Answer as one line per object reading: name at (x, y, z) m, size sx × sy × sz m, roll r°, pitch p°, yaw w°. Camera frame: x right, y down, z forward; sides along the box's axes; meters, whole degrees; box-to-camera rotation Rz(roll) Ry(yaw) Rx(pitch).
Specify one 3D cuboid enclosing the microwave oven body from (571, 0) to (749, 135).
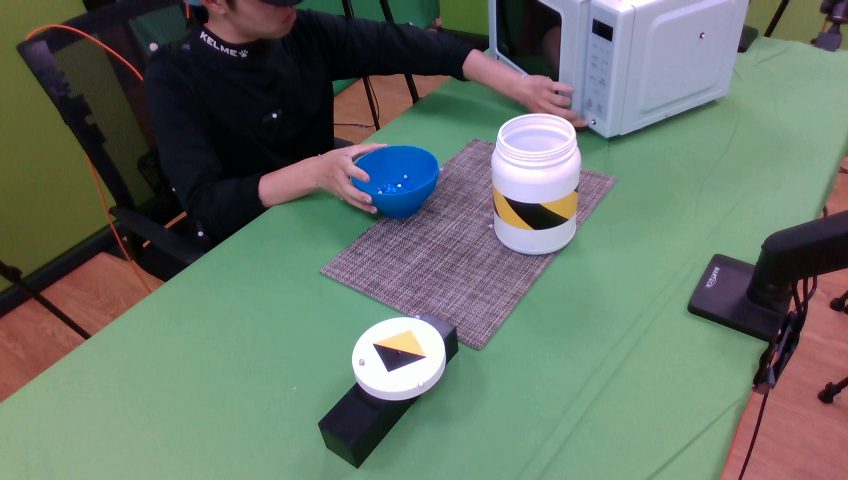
microwave oven body at (0.382, -0.444, 1.246) m, size 0.327 × 0.261 × 0.437 m, roll -22°, pitch 42°, yaw -16°

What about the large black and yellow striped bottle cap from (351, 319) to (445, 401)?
large black and yellow striped bottle cap at (-0.031, 0.143, 0.735) m, size 0.115 × 0.019 × 0.114 m, roll -3°, pitch 40°, yaw 3°

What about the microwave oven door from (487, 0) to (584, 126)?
microwave oven door at (0.221, -0.416, 1.227) m, size 0.039 × 0.245 × 0.352 m, roll -19°, pitch 42°, yaw -13°

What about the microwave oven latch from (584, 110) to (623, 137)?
microwave oven latch at (0.336, -0.222, 1.142) m, size 0.030 × 0.029 × 0.078 m, roll -22°, pitch 42°, yaw -15°

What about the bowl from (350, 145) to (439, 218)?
bowl at (-0.046, -0.090, 1.033) m, size 0.151 × 0.077 × 0.150 m, roll -3°, pitch 40°, yaw 3°

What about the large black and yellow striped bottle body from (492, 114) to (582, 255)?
large black and yellow striped bottle body at (0.169, -0.084, 0.912) m, size 0.131 × 0.185 × 0.130 m, roll -4°, pitch 41°, yaw 4°
